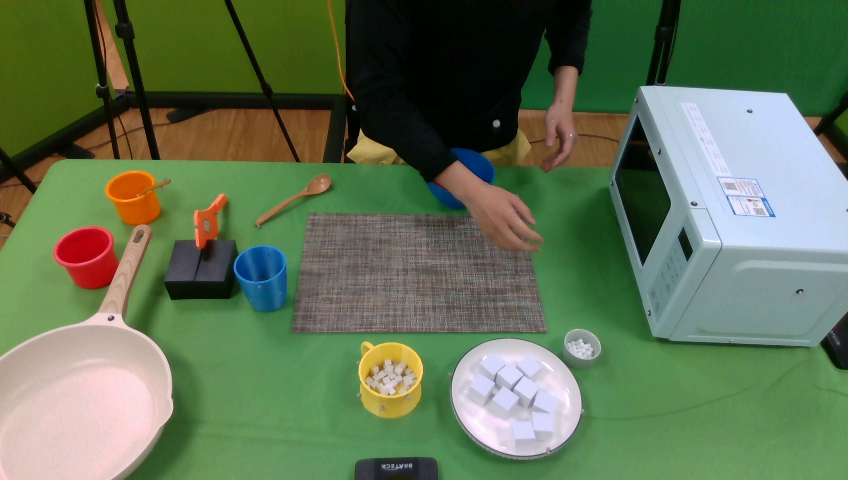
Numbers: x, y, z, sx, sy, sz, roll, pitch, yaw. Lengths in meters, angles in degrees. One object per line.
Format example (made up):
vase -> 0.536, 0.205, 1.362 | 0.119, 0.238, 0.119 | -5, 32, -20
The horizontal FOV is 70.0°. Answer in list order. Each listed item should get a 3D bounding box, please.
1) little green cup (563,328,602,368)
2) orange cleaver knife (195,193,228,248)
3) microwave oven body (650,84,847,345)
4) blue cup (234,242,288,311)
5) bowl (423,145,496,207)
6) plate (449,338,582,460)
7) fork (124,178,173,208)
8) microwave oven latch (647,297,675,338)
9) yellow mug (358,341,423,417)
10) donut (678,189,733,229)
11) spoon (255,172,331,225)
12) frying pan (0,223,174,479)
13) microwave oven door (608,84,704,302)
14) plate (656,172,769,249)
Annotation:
little green cup -> 0.266, 0.185, 1.025 | 0.061, 0.039, 0.061 | 2, 45, -2
orange cleaver knife -> -0.406, -0.041, 1.163 | 0.012, 0.077, 0.210 | 0, 18, -3
microwave oven body -> 0.568, -0.054, 1.116 | 0.326, 0.261, 0.439 | 2, 46, -1
blue cup -> -0.276, 0.072, 1.052 | 0.093, 0.101, 0.092 | 1, 48, -1
bowl -> 0.073, -0.123, 1.278 | 0.151, 0.077, 0.150 | 2, 46, -2
plate -> 0.141, 0.251, 0.955 | 0.208, 0.039, 0.206 | 2, 46, -2
fork -> -0.525, -0.090, 1.154 | 0.207, 0.019, 0.028 | -17, 27, 45
microwave oven latch -> 0.413, 0.133, 1.060 | 0.030, 0.029, 0.078 | 5, 46, 2
yellow mug -> -0.062, 0.209, 0.961 | 0.100, 0.064, 0.130 | -29, 54, -27
donut -> 0.544, -0.062, 1.174 | 0.099, 0.048, 0.098 | 1, 42, 0
spoon -> -0.272, -0.087, 1.257 | 0.041, 0.022, 0.193 | 43, 57, 18
frying pan -> -0.504, 0.169, 0.941 | 0.307, 0.103, 0.485 | 5, 54, -1
microwave oven door -> 0.424, -0.096, 1.138 | 0.039, 0.245, 0.353 | 3, 46, -1
plate -> 0.557, -0.054, 1.185 | 0.209, 0.038, 0.208 | 1, 44, -1
